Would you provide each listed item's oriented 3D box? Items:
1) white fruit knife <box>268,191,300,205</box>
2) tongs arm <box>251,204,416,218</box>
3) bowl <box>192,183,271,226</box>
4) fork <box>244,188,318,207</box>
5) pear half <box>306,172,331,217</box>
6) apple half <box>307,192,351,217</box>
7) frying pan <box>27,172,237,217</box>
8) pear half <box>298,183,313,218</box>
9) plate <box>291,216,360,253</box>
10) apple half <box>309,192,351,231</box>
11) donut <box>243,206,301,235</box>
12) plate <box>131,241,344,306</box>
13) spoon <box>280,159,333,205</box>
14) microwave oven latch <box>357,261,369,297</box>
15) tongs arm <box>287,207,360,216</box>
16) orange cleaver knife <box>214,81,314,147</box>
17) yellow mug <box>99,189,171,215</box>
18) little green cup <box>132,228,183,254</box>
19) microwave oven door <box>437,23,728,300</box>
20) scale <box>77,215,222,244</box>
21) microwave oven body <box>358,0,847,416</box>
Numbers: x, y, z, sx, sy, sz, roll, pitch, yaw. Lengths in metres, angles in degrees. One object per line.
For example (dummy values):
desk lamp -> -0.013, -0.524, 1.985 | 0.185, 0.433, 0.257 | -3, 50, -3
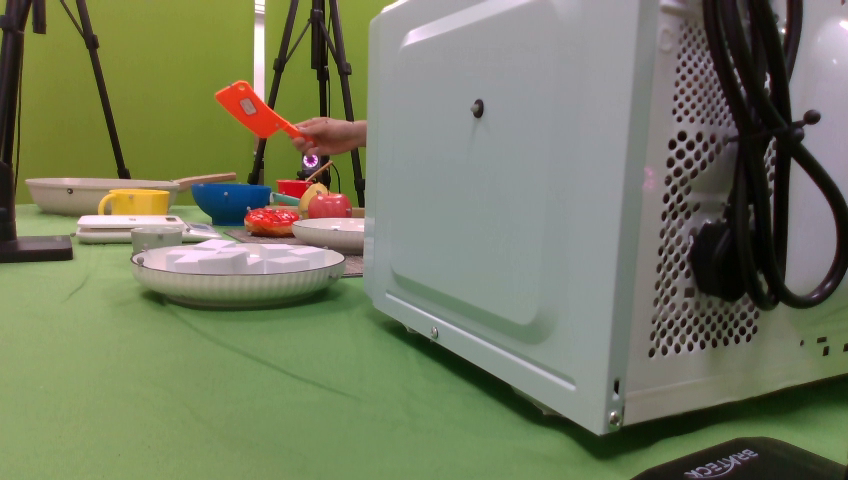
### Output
white fruit knife -> -0.364, -0.105, 1.464 | 0.208, 0.027, 0.016 | 15, -1, -34
tongs arm -> -0.210, -0.068, 1.439 | 0.389, 0.027, 0.028 | 0, -1, -17
bowl -> -0.382, -0.070, 1.202 | 0.151, 0.077, 0.151 | 3, 7, 0
fork -> -0.356, -0.105, 1.526 | 0.208, 0.018, 0.028 | 16, -5, -41
pear half -> -0.200, -0.079, 1.203 | 0.056, 0.110, 0.076 | 3, 11, 2
apple half -> -0.174, -0.049, 1.087 | 0.081, 0.074, 0.053 | 6, 11, 2
frying pan -> -0.624, -0.118, 1.387 | 0.305, 0.102, 0.490 | 8, 17, 32
pear half -> -0.235, -0.071, 1.207 | 0.031, 0.088, 0.070 | 3, 10, 1
plate -> -0.103, -0.009, 0.945 | 0.209, 0.038, 0.209 | 2, 8, 0
apple half -> -0.173, -0.055, 1.125 | 0.081, 0.081, 0.033 | 2, 10, 3
donut -> -0.261, -0.032, 1.043 | 0.099, 0.048, 0.099 | 4, 9, 0
plate -> -0.187, 0.033, 0.625 | 0.208, 0.039, 0.207 | 2, 8, 0
spoon -> -0.316, -0.159, 1.640 | 0.194, 0.022, 0.041 | -50, 32, -20
microwave oven latch -> -0.019, 0.033, 0.530 | 0.079, 0.029, 0.030 | -1, 7, -26
tongs arm -> -0.173, -0.061, 1.362 | 0.387, 0.026, 0.050 | -1, 3, -31
orange cleaver knife -> -0.312, -0.236, 1.196 | 0.212, 0.077, 0.012 | 37, 27, -40
yellow mug -> -0.519, -0.055, 1.080 | 0.099, 0.064, 0.131 | 7, 9, 26
little green cup -> -0.342, 0.006, 0.779 | 0.061, 0.038, 0.061 | 2, 8, 0
microwave oven door -> 0.180, -0.073, 0.621 | 0.358, 0.243, 0.039 | -2, 8, -29
scale -> -0.434, -0.019, 0.963 | 0.202, 0.031, 0.148 | -1, 9, -27
microwave oven body -> 0.211, -0.047, 0.474 | 0.444, 0.260, 0.324 | -1, 7, -28
